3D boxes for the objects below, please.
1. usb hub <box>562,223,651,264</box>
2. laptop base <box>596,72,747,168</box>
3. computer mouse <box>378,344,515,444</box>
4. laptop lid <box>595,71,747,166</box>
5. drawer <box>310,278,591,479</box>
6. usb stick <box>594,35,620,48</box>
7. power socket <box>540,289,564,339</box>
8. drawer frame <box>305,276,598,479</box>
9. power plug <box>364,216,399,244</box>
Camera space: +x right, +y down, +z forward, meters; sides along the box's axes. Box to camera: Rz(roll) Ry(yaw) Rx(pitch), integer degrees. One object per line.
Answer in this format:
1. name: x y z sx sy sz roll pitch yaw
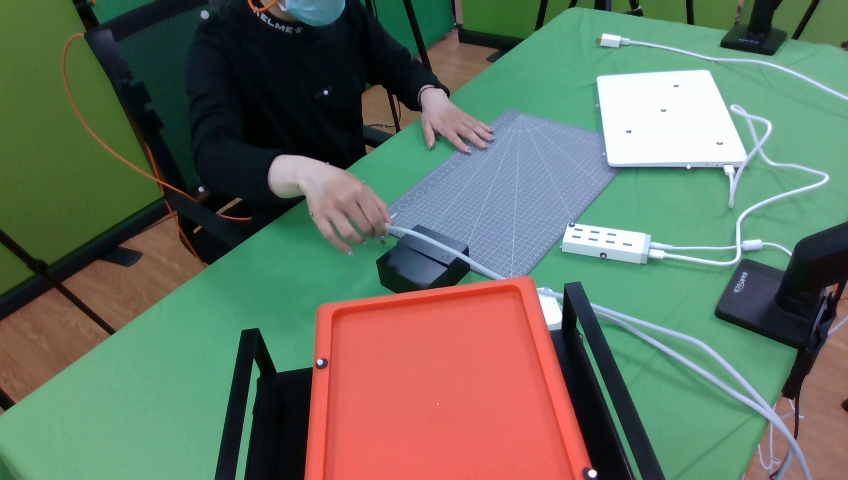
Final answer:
1. usb hub: 0.279 0.004 0.926 0.124 0.025 0.049 10 43 19
2. laptop base: 0.469 -0.238 1.189 0.235 0.023 0.353 -1 40 11
3. computer mouse: 0.018 0.126 0.520 0.116 0.041 0.063 13 47 29
4. laptop lid: 0.465 -0.248 1.181 0.241 0.013 0.355 1 41 12
5. drawer: 0.013 0.137 0.489 0.195 0.073 0.210 -7 41 0
6. usb stick: 0.443 -0.482 1.466 0.059 0.021 0.027 9 43 10
7. power socket: 0.080 0.112 0.822 0.227 0.033 0.072 -7 41 -1
8. drawer frame: 0.014 0.137 0.486 0.202 0.083 0.212 -8 41 -1
9. power plug: -0.060 -0.008 0.885 0.035 0.053 0.072 -44 47 -11
